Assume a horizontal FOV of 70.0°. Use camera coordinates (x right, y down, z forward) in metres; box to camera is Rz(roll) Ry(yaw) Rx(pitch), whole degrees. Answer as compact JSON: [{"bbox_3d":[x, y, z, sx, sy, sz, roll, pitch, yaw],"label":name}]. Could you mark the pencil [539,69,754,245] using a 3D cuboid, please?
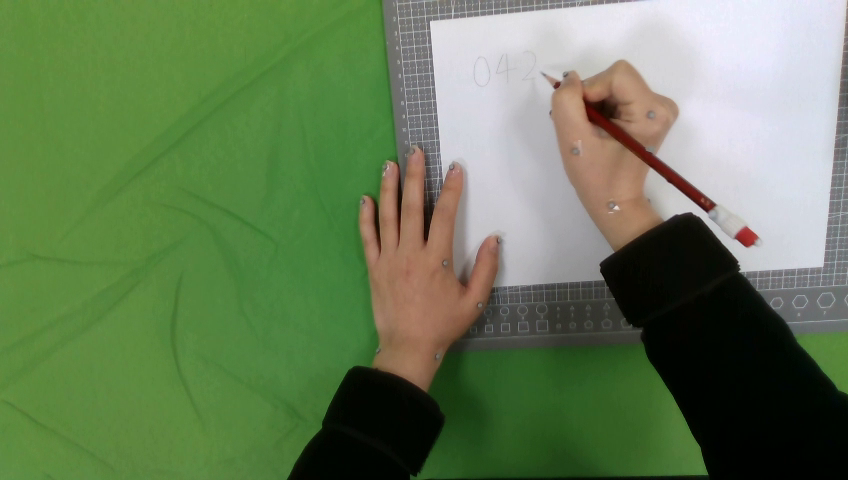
[{"bbox_3d":[0.134,-0.063,0.393,0.012,0.012,0.192,-47,55,14],"label":"pencil"}]
